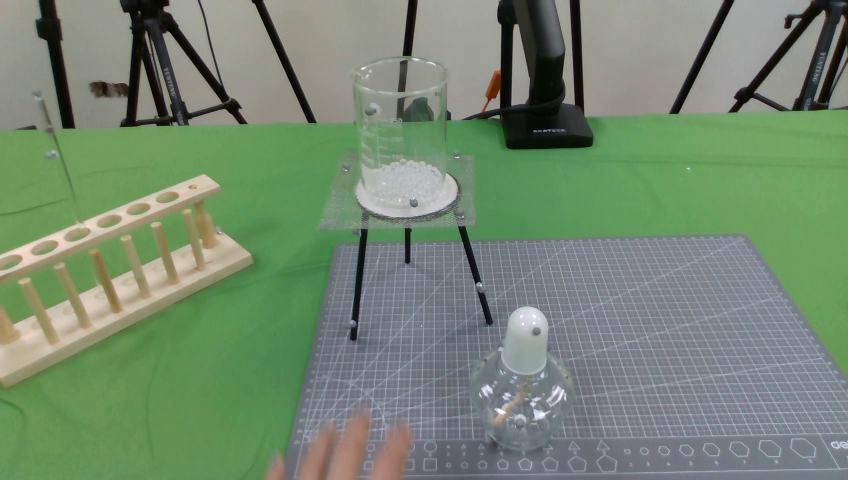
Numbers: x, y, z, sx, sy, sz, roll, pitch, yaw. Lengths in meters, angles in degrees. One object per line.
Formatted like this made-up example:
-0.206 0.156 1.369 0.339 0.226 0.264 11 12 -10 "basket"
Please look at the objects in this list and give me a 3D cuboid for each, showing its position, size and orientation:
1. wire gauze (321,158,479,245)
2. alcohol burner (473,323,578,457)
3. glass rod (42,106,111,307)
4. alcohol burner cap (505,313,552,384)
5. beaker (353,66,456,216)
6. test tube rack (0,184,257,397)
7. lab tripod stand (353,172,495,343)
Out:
-0.016 -0.036 0.505 0.121 0.011 0.124 0 37 4 "wire gauze"
0.074 0.101 0.438 0.078 0.120 0.077 -1 38 1 "alcohol burner"
-0.315 -0.023 0.552 0.008 0.201 0.008 -1 28 1 "glass rod"
0.074 0.072 0.416 0.034 0.048 0.033 0 37 0 "alcohol burner cap"
-0.018 -0.077 0.479 0.083 0.101 0.074 24 42 30 "beaker"
-0.291 0.038 0.580 0.242 0.086 0.066 -30 43 -33 "test tube rack"
-0.005 0.016 0.545 0.148 0.132 0.147 0 34 1 "lab tripod stand"
